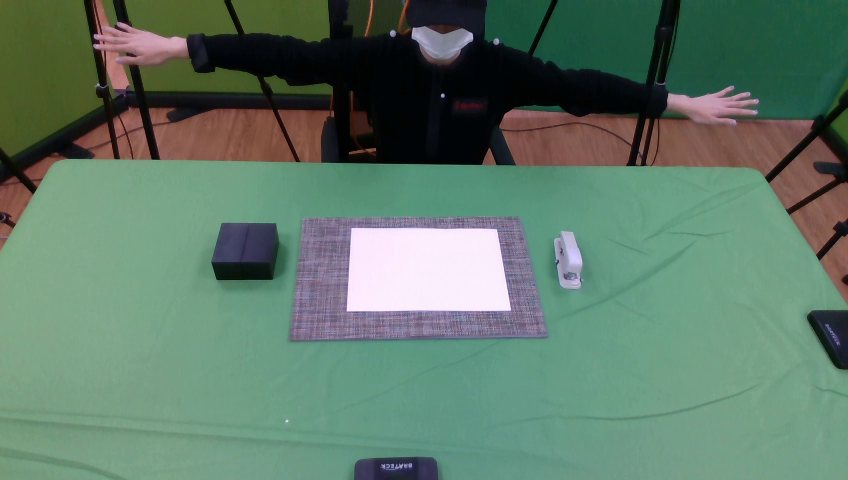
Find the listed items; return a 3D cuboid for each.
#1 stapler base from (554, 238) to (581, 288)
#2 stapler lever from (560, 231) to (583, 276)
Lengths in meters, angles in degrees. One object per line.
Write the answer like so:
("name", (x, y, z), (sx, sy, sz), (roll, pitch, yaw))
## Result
("stapler base", (0.282, 0.038, 1.181), (0.041, 0.024, 0.130), (5, 44, -2))
("stapler lever", (0.283, 0.018, 1.165), (0.027, 0.040, 0.117), (5, 44, -2))
